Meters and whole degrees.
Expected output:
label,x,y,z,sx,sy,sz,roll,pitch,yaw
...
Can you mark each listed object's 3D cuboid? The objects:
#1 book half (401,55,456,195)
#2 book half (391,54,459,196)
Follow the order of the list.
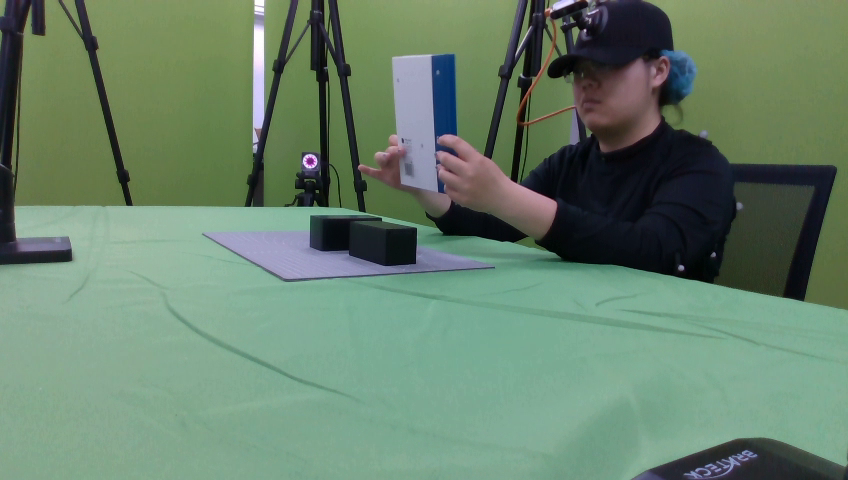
label,x,y,z,sx,sy,sz,roll,pitch,yaw
book half,0.007,-0.185,0.966,0.007,0.210,0.142,-15,21,-30
book half,0.001,-0.183,0.960,0.016,0.210,0.148,-16,21,-34
